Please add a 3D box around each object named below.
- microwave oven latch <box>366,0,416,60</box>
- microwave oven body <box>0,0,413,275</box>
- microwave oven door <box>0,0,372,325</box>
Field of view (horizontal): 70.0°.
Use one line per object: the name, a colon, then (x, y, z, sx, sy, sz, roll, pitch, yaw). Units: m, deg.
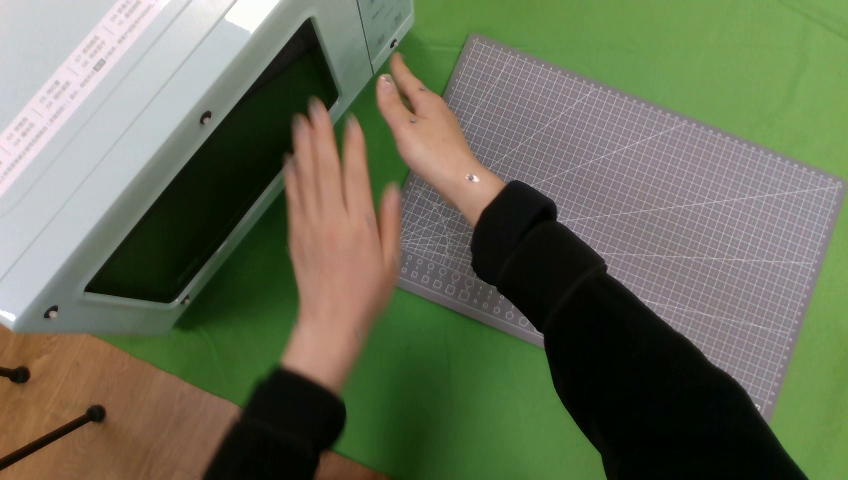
microwave oven latch: (-0.041, -0.235, 0.654, 0.030, 0.029, 0.079, 39, 85, 5)
microwave oven body: (-0.267, -0.197, 0.552, 0.325, 0.261, 0.441, 37, 84, 4)
microwave oven door: (-0.177, -0.077, 0.531, 0.039, 0.244, 0.355, 37, 84, 5)
